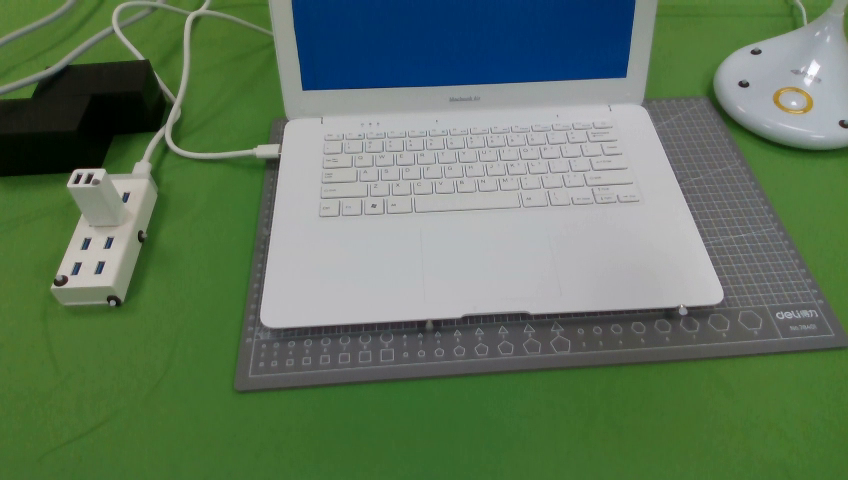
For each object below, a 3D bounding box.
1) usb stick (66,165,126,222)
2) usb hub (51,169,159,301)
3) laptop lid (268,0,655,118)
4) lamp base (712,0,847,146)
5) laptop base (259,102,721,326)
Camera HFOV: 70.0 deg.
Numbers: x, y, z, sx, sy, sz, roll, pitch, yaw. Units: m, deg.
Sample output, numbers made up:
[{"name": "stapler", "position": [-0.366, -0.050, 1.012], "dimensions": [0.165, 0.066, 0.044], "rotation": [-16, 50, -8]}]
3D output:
[{"name": "usb stick", "position": [-0.259, -0.032, 0.486], "dimensions": [0.027, 0.060, 0.021], "rotation": [-4, 50, -1]}, {"name": "usb hub", "position": [-0.262, -0.007, 0.504], "dimensions": [0.049, 0.025, 0.124], "rotation": [-3, 50, -1]}, {"name": "laptop lid", "position": [0.036, -0.226, 0.543], "dimensions": [0.357, 0.243, 0.013], "rotation": [-4, 30, -1]}, {"name": "lamp base", "position": [0.382, -0.210, 0.567], "dimensions": [0.160, 0.182, 0.178], "rotation": [21, 52, 17]}, {"name": "laptop base", "position": [0.046, -0.032, 0.528], "dimensions": [0.354, 0.023, 0.233], "rotation": [-3, 54, -2]}]
